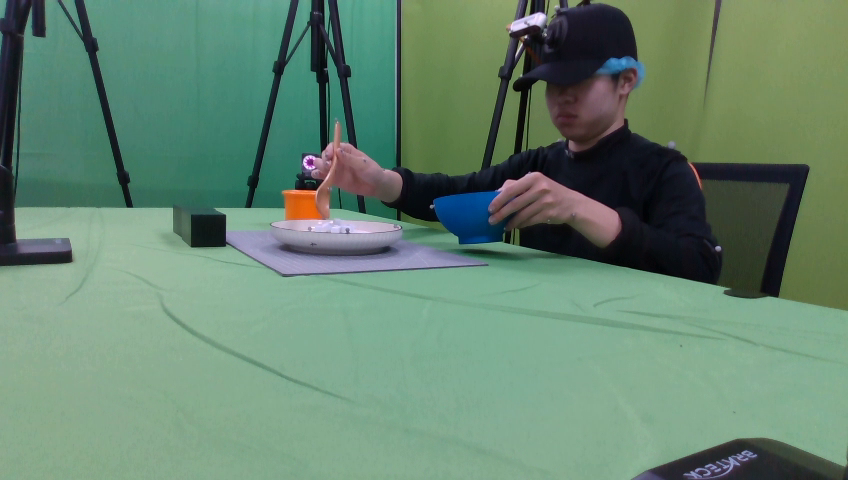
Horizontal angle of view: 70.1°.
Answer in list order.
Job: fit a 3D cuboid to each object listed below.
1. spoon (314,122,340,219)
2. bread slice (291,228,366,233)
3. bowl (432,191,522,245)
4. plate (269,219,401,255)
[{"bbox_3d":[-0.154,-0.119,0.996,0.021,0.193,0.042,-6,-32,25],"label":"spoon"},{"bbox_3d":[-0.143,-0.003,0.953,0.135,0.018,0.106,-1,8,-37],"label":"bread slice"},{"bbox_3d":[0.090,-0.033,0.999,0.151,0.076,0.151,-4,-2,0],"label":"bowl"},{"bbox_3d":[-0.140,-0.006,0.958,0.209,0.038,0.209,3,7,0],"label":"plate"}]
